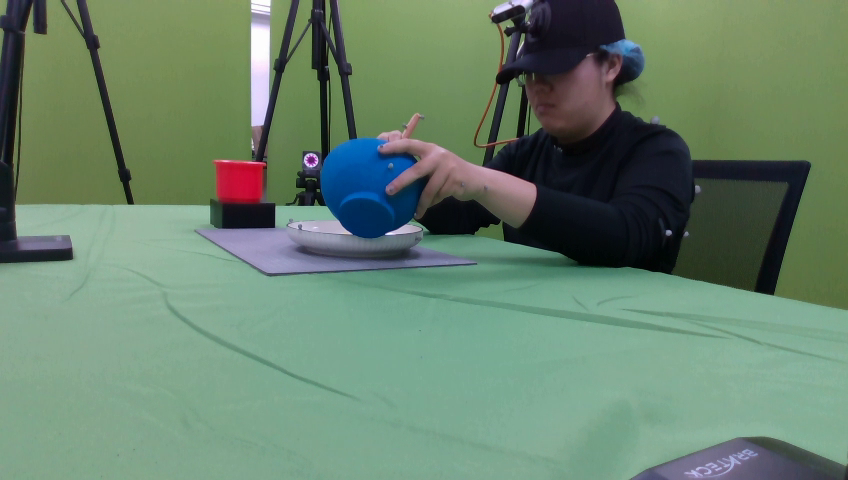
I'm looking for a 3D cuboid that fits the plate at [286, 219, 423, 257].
[{"bbox_3d":[-0.105,-0.003,0.922,0.208,0.039,0.207,3,7,0],"label":"plate"}]

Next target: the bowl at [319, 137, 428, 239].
[{"bbox_3d":[-0.073,-0.054,0.810,0.151,0.151,0.076,3,45,5],"label":"bowl"}]

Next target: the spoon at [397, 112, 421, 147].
[{"bbox_3d":[-0.054,-0.119,0.912,0.041,0.194,0.022,15,-28,34],"label":"spoon"}]
